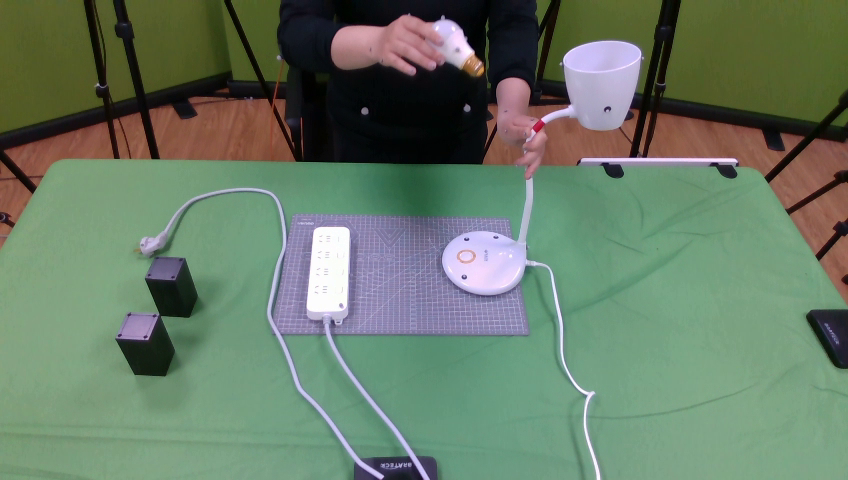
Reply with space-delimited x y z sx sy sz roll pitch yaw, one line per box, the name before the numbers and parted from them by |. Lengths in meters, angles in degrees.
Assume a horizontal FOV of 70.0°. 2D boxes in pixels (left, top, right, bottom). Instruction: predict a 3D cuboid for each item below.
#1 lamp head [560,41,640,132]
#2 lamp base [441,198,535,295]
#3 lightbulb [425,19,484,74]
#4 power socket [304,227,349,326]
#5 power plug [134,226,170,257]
lamp head | 0.266 -0.227 0.927 0.112 0.123 0.112 -4 38 3
lamp base | 0.129 -0.012 1.105 0.179 0.181 0.159 -1 46 -9
lightbulb | 0.049 -0.292 0.926 0.107 0.060 0.059 42 54 7
power socket | -0.177 0.059 1.115 0.072 0.033 0.225 -1 46 -4
power plug | -0.516 0.006 1.152 0.052 0.035 0.072 -7 24 6
